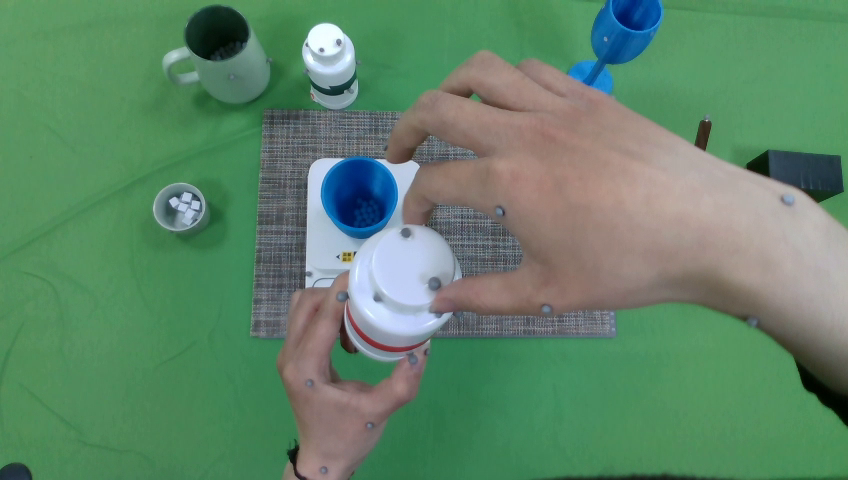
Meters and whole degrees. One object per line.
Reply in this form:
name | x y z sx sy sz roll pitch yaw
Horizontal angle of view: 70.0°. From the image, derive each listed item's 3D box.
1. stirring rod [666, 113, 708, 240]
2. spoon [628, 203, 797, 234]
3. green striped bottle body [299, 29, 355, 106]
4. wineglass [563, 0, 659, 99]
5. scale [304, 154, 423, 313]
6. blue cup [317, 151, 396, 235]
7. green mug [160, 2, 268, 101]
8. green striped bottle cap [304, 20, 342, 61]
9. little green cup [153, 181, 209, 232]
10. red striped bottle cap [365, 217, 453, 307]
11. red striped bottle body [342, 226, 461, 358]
stirring rod | 0.323 -0.072 0.746 0.014 0.177 0.006 6 36 11
spoon | 0.342 -0.021 0.736 0.022 0.192 0.041 20 81 -44
green striped bottle body | -0.121 -0.223 0.764 0.063 0.119 0.063 1 77 -3
wineglass | 0.230 -0.247 0.765 0.074 0.173 0.073 1 77 -3
scale | -0.076 -0.011 0.762 0.149 0.031 0.200 -1 78 -4
blue cup | -0.077 -0.046 0.702 0.093 0.100 0.092 1 79 -6
green mug | -0.266 -0.230 0.763 0.125 0.105 0.092 -22 80 -8
green striped bottle cap | -0.119 -0.236 0.713 0.044 0.020 0.044 1 76 -4
little green cup | -0.299 -0.039 0.753 0.061 0.039 0.061 1 77 -5
red striped bottle cap | -0.007 0.011 0.308 0.045 0.018 0.044 3 74 -11
red striped bottle body | -0.015 0.031 0.359 0.063 0.120 0.062 3 70 -9
